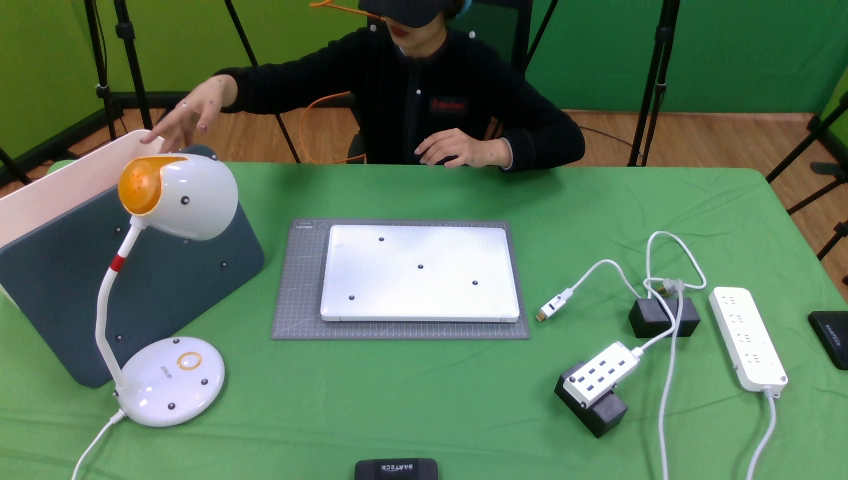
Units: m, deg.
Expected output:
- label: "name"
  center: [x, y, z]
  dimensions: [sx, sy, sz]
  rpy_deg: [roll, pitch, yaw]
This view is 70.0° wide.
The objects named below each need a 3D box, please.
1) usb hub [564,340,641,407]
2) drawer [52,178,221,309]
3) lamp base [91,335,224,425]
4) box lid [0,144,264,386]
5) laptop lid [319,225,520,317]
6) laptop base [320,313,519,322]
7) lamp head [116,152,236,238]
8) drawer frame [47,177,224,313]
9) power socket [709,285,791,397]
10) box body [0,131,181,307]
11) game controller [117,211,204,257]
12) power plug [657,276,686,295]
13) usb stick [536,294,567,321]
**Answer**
- label: "usb hub"
  center: [0.278, 0.205, 0.944]
  dimensions: [0.125, 0.025, 0.049]
  rpy_deg: [-27, 52, -28]
- label: "drawer"
  center: [-0.520, 0.001, 1.110]
  dimensions: [0.194, 0.073, 0.211]
  rpy_deg: [27, 51, 20]
- label: "lamp base"
  center: [-0.401, 0.171, 0.892]
  dimensions: [0.160, 0.181, 0.179]
  rpy_deg: [30, 53, 23]
- label: "box lid"
  center: [-0.443, 0.032, 0.979]
  dimensions: [0.015, 0.264, 0.371]
  rpy_deg: [13, 42, 41]
- label: "laptop lid"
  center: [-0.008, 0.052, 1.131]
  dimensions: [0.357, 0.013, 0.240]
  rpy_deg: [2, 43, -2]
- label: "laptop base"
  center: [-0.009, 0.062, 1.138]
  dimensions: [0.354, 0.023, 0.234]
  rpy_deg: [1, 42, -3]
- label: "lamp head"
  center: [-0.315, -0.057, 0.748]
  dimensions: [0.112, 0.112, 0.123]
  rpy_deg: [26, 10, 20]
- label: "drawer frame"
  center: [-0.518, 0.002, 1.107]
  dimensions: [0.201, 0.083, 0.213]
  rpy_deg: [26, 51, 19]
- label: "power socket"
  center: [0.567, 0.168, 1.064]
  dimensions: [0.072, 0.033, 0.225]
  rpy_deg: [2, 46, 0]
- label: "box body"
  center: [-0.550, -0.007, 1.068]
  dimensions: [0.253, 0.161, 0.363]
  rpy_deg: [30, 51, 23]
- label: "game controller"
  center: [-0.500, -0.017, 1.144]
  dimensions: [0.155, 0.051, 0.097]
  rpy_deg: [25, 20, 17]
- label: "power plug"
  center: [0.450, 0.087, 1.113]
  dimensions: [0.073, 0.052, 0.035]
  rpy_deg: [-13, 72, -55]
- label: "usb stick"
  center: [0.226, 0.122, 1.083]
  dimensions: [0.059, 0.027, 0.021]
  rpy_deg: [-37, 78, -8]
